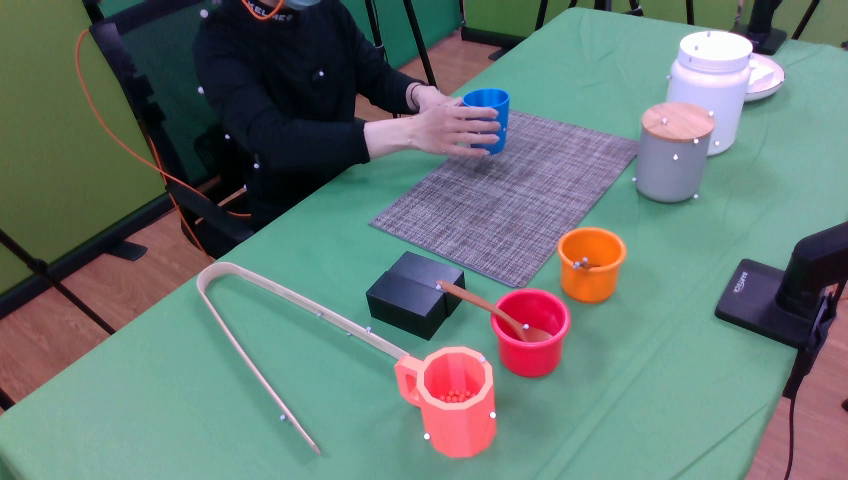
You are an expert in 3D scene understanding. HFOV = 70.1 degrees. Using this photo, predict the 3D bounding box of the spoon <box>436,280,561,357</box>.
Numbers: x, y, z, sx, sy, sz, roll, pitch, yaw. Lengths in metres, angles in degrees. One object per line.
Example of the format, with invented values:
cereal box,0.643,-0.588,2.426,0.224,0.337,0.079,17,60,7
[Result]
spoon,0.096,0.095,0.757,0.195,0.021,0.041,34,40,-20

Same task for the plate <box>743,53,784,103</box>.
plate,0.631,-0.336,1.262,0.207,0.039,0.206,-4,41,4

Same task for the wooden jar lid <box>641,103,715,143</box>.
wooden jar lid,0.398,-0.180,0.952,0.108,0.021,0.108,-4,43,4

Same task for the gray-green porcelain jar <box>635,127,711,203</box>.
gray-green porcelain jar,0.404,-0.133,0.992,0.106,0.127,0.105,-4,40,4

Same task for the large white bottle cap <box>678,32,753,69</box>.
large white bottle cap,0.491,-0.321,1.021,0.115,0.018,0.114,-4,41,4

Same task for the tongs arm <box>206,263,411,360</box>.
tongs arm,-0.179,0.106,0.870,0.381,0.026,0.051,23,54,32

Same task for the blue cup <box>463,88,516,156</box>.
blue cup,0.116,-0.209,1.088,0.092,0.100,0.092,-4,35,4

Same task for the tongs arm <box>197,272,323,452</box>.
tongs arm,-0.236,0.153,0.830,0.028,0.028,0.384,-36,47,-18

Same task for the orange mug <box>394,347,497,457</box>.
orange mug,0.024,0.181,0.703,0.125,0.101,0.083,20,48,23

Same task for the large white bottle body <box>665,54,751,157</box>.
large white bottle body,0.500,-0.257,1.076,0.130,0.185,0.130,-4,41,4

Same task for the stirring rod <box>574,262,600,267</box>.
stirring rod,0.221,0.033,0.817,0.014,0.006,0.177,6,0,22
